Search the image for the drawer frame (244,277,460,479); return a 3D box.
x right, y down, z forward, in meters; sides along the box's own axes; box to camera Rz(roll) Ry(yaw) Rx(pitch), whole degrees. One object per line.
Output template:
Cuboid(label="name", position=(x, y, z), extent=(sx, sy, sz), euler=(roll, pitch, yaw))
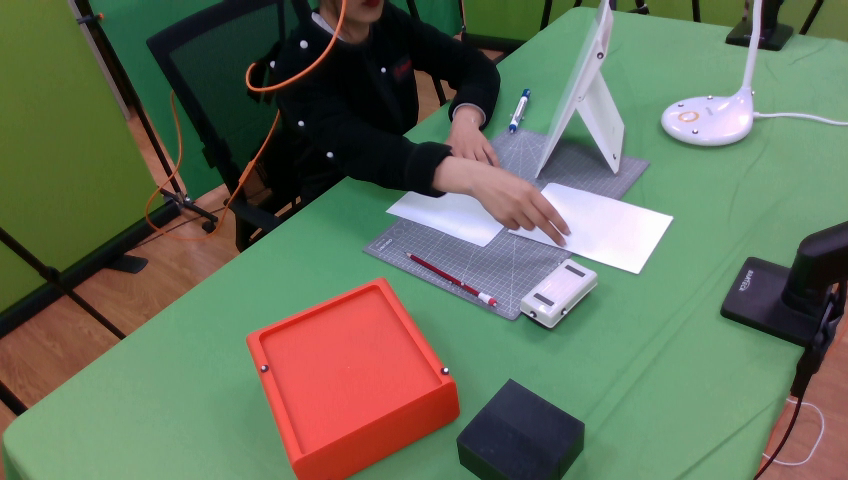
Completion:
Cuboid(label="drawer frame", position=(-0.093, 0.167, 0.755), extent=(0.202, 0.083, 0.211), euler=(-23, 43, -17))

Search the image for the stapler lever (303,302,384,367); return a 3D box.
Cuboid(label="stapler lever", position=(-0.108, 0.123, 0.805), extent=(0.118, 0.040, 0.026), euler=(-27, 36, -15))

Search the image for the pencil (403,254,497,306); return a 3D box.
Cuboid(label="pencil", position=(0.034, 0.056, 0.914), extent=(0.192, 0.012, 0.012), euler=(27, 52, 38))

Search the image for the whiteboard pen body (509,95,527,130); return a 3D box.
Cuboid(label="whiteboard pen body", position=(0.199, -0.272, 1.262), extent=(0.017, 0.017, 0.140), euler=(8, 44, 19))

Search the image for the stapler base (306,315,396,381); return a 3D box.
Cuboid(label="stapler base", position=(-0.101, 0.139, 0.819), extent=(0.131, 0.024, 0.041), euler=(-31, 37, -13))

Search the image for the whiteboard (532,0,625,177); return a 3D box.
Cuboid(label="whiteboard", position=(0.321, -0.258, 1.050), extent=(0.144, 0.306, 0.217), euler=(21, 45, 5))

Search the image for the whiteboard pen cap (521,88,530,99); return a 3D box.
Cuboid(label="whiteboard pen cap", position=(0.218, -0.312, 1.301), extent=(0.018, 0.018, 0.033), euler=(6, 46, 17))

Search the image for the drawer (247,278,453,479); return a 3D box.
Cuboid(label="drawer", position=(-0.096, 0.167, 0.758), extent=(0.195, 0.073, 0.210), euler=(-22, 43, -16))

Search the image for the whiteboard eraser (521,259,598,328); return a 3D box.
Cuboid(label="whiteboard eraser", position=(0.189, 0.076, 0.843), extent=(0.055, 0.042, 0.113), euler=(29, 53, 37))

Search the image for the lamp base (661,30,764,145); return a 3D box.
Cuboid(label="lamp base", position=(0.535, -0.287, 1.096), extent=(0.179, 0.181, 0.159), euler=(-10, 40, -4))
